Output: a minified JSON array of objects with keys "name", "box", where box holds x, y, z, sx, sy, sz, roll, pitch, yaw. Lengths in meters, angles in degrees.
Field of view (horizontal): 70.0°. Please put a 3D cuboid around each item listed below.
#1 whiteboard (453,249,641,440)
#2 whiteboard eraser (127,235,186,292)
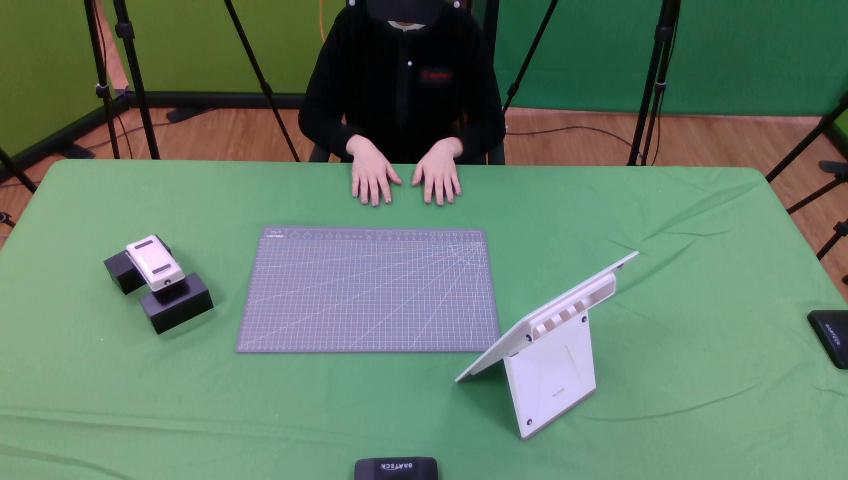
[{"name":"whiteboard","box":[0.206,0.174,0.890,0.217,0.306,0.143,-24,72,-25]},{"name":"whiteboard eraser","box":[-0.460,0.041,1.042,0.055,0.042,0.112,-31,55,-28]}]
